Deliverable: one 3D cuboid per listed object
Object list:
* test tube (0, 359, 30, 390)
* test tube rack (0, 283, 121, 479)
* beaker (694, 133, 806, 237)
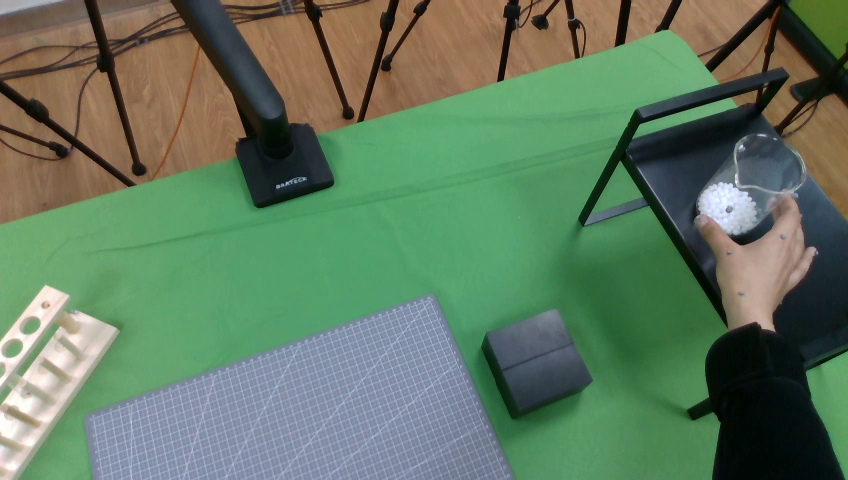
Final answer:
[{"bbox_3d":[-0.469,0.132,0.655,0.017,0.151,0.017,2,57,-2],"label":"test tube"},{"bbox_3d":[-0.461,0.178,0.686,0.066,0.086,0.241,22,63,8],"label":"test tube rack"},{"bbox_3d":[0.344,-0.053,0.654,0.084,0.101,0.073,-31,68,-18],"label":"beaker"}]
